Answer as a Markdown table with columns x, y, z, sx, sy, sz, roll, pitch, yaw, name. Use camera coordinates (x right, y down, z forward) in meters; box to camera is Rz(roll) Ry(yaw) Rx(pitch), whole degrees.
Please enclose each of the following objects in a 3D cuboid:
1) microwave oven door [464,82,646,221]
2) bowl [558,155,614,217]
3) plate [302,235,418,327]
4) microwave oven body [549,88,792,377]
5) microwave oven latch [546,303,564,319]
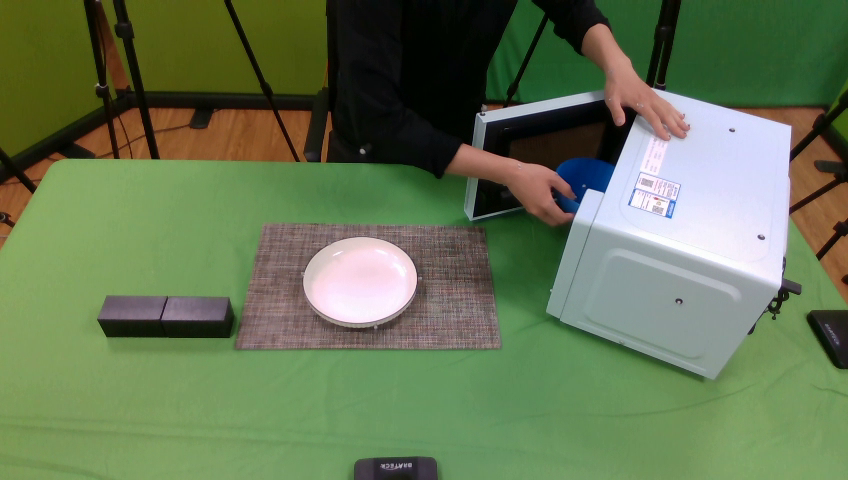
| x | y | z | sx | sy | sz | roll | pitch | yaw | name |
| --- | --- | --- | --- | --- | --- | --- | --- | --- | --- |
| 0.257 | -0.176 | 1.208 | 0.356 | 0.245 | 0.039 | -14 | 48 | -17 | microwave oven door |
| 0.321 | -0.083 | 1.151 | 0.151 | 0.077 | 0.150 | 2 | 50 | -3 | bowl |
| -0.114 | 0.077 | 1.098 | 0.208 | 0.039 | 0.206 | 2 | 46 | -2 | plate |
| 0.456 | -0.028 | 1.088 | 0.325 | 0.261 | 0.440 | 20 | 47 | 16 | microwave oven body |
| 0.242 | 0.102 | 1.081 | 0.030 | 0.029 | 0.079 | 21 | 48 | 17 | microwave oven latch |
